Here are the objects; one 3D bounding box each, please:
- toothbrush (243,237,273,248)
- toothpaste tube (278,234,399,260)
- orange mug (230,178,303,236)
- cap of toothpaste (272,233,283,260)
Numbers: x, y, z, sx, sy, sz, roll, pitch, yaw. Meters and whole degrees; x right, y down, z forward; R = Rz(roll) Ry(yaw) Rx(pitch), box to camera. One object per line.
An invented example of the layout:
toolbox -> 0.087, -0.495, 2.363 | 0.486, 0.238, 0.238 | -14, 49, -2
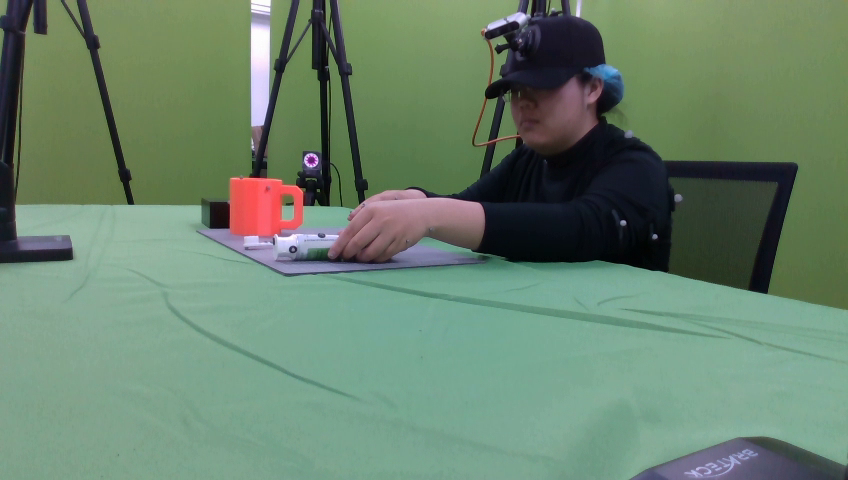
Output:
toothbrush -> -0.191, 0.002, 0.927 | 0.183, 0.016, 0.014 | -2, -8, -41
toothpaste tube -> -0.118, 0.008, 0.818 | 0.166, 0.034, 0.055 | 0, -23, -26
orange mug -> -0.276, -0.060, 1.058 | 0.126, 0.101, 0.083 | -2, 8, -5
cap of toothpaste -> -0.190, 0.009, 0.786 | 0.011, 0.037, 0.037 | 0, 7, -25
